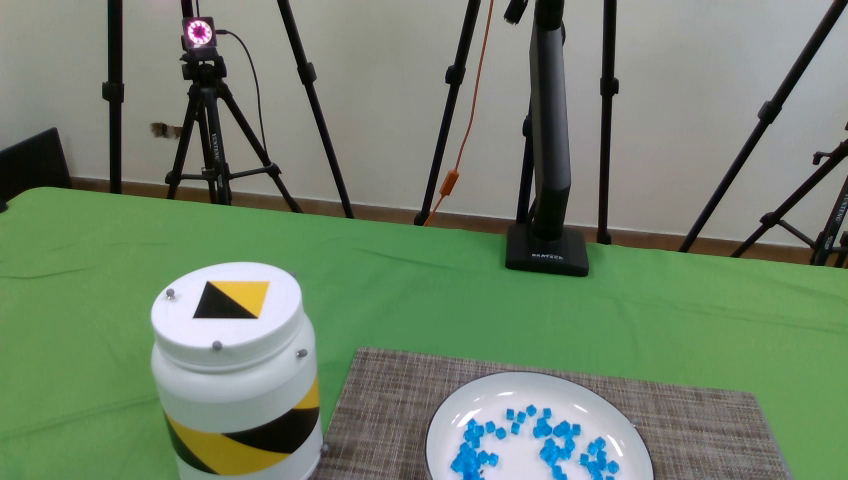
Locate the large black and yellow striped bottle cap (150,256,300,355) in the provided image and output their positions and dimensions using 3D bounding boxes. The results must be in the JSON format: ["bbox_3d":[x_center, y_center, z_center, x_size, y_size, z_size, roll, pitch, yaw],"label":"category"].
[{"bbox_3d":[-0.159,0.049,0.490,0.115,0.019,0.114,4,31,-2],"label":"large black and yellow striped bottle cap"}]

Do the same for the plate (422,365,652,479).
[{"bbox_3d":[0.101,0.200,0.561,0.208,0.039,0.206,2,32,-1],"label":"plate"}]

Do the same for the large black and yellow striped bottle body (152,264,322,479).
[{"bbox_3d":[-0.160,0.121,0.534,0.131,0.185,0.129,2,32,-1],"label":"large black and yellow striped bottle body"}]
